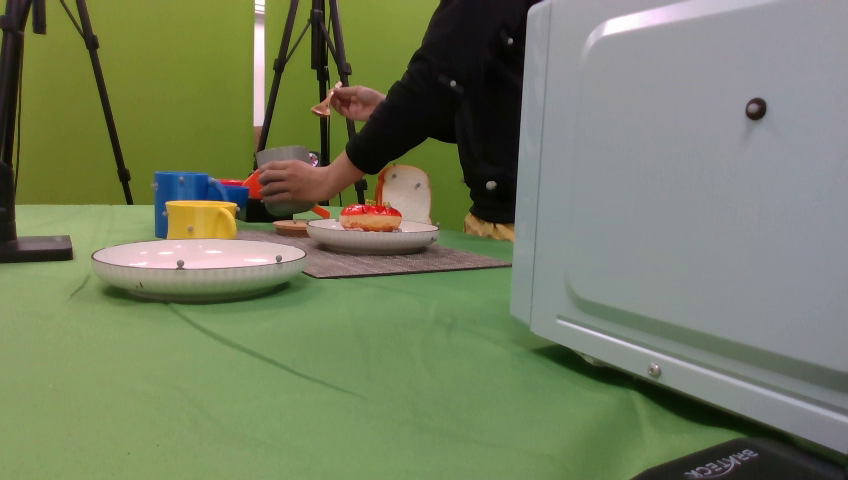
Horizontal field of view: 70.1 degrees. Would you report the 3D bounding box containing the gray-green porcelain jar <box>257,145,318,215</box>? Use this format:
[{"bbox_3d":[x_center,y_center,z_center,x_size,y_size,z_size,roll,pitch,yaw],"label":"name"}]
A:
[{"bbox_3d":[-0.273,-0.118,1.218,0.106,0.126,0.106,-10,0,0],"label":"gray-green porcelain jar"}]

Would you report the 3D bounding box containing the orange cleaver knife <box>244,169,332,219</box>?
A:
[{"bbox_3d":[-0.301,-0.089,1.352,0.212,0.077,0.012,32,-12,-34],"label":"orange cleaver knife"}]

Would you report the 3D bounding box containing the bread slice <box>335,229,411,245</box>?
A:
[{"bbox_3d":[-0.074,-0.005,0.938,0.105,0.019,0.131,-2,4,-19],"label":"bread slice"}]

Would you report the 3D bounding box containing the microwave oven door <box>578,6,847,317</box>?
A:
[{"bbox_3d":[0.294,-0.067,0.570,0.358,0.243,0.039,-3,9,-31],"label":"microwave oven door"}]

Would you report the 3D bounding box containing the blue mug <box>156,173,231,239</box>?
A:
[{"bbox_3d":[-0.381,-0.057,1.004,0.117,0.106,0.082,0,8,-12],"label":"blue mug"}]

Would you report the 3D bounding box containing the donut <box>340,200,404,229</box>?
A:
[{"bbox_3d":[-0.081,-0.038,0.945,0.099,0.048,0.099,1,4,0],"label":"donut"}]

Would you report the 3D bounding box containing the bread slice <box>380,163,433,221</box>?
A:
[{"bbox_3d":[-0.035,-0.076,1.125,0.107,0.134,0.018,-4,1,-26],"label":"bread slice"}]

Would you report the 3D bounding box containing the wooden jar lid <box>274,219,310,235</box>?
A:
[{"bbox_3d":[-0.213,-0.023,1.081,0.108,0.020,0.108,3,7,0],"label":"wooden jar lid"}]

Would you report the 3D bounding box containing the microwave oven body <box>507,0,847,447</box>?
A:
[{"bbox_3d":[0.331,-0.042,0.425,0.444,0.260,0.324,-2,8,-31],"label":"microwave oven body"}]

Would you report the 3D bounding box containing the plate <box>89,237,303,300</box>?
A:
[{"bbox_3d":[-0.233,0.029,0.637,0.208,0.039,0.207,2,7,0],"label":"plate"}]

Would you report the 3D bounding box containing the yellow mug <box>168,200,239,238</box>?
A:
[{"bbox_3d":[-0.320,-0.023,0.904,0.130,0.064,0.100,9,11,36],"label":"yellow mug"}]

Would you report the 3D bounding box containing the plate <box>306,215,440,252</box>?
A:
[{"bbox_3d":[-0.079,-0.011,0.950,0.209,0.038,0.209,2,8,0],"label":"plate"}]

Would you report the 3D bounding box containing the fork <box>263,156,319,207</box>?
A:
[{"bbox_3d":[-0.331,-0.144,1.506,0.207,0.018,0.028,-42,-17,22],"label":"fork"}]

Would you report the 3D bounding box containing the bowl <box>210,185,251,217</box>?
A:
[{"bbox_3d":[-0.408,-0.064,1.154,0.151,0.077,0.151,2,8,0],"label":"bowl"}]

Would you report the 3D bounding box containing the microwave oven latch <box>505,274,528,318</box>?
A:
[{"bbox_3d":[0.100,0.041,0.472,0.079,0.029,0.030,-2,8,-30],"label":"microwave oven latch"}]

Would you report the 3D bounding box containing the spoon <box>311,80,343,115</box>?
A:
[{"bbox_3d":[-0.214,-0.328,1.380,0.041,0.021,0.193,17,40,-1],"label":"spoon"}]
